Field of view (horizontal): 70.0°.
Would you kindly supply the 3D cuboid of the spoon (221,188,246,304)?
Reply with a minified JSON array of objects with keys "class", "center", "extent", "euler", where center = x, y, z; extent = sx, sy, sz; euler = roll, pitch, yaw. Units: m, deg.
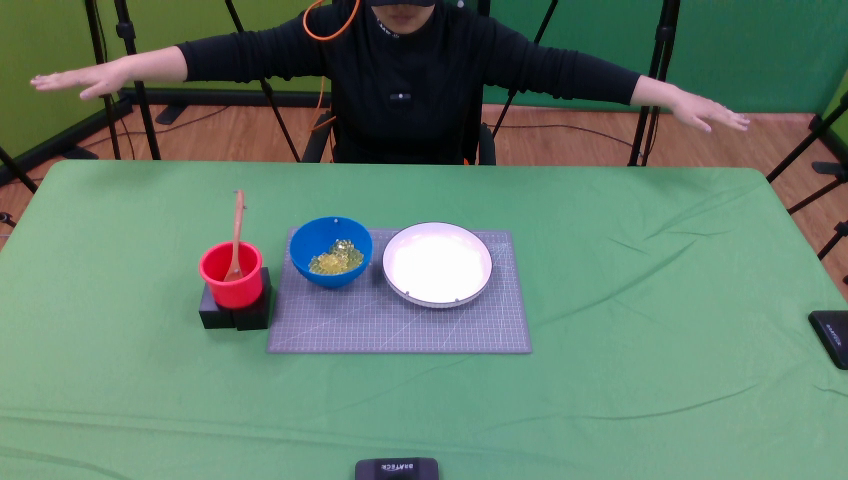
[{"class":"spoon","center":[-0.312,0.010,1.011],"extent":[0.041,0.021,0.193],"euler":[4,90,3]}]

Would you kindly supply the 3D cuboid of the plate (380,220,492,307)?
[{"class":"plate","center":[0.021,0.048,1.137],"extent":[0.208,0.039,0.206],"euler":[2,46,-2]}]

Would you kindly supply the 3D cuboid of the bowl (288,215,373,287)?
[{"class":"bowl","center":[-0.168,0.034,1.109],"extent":[0.151,0.077,0.150],"euler":[2,46,-2]}]
